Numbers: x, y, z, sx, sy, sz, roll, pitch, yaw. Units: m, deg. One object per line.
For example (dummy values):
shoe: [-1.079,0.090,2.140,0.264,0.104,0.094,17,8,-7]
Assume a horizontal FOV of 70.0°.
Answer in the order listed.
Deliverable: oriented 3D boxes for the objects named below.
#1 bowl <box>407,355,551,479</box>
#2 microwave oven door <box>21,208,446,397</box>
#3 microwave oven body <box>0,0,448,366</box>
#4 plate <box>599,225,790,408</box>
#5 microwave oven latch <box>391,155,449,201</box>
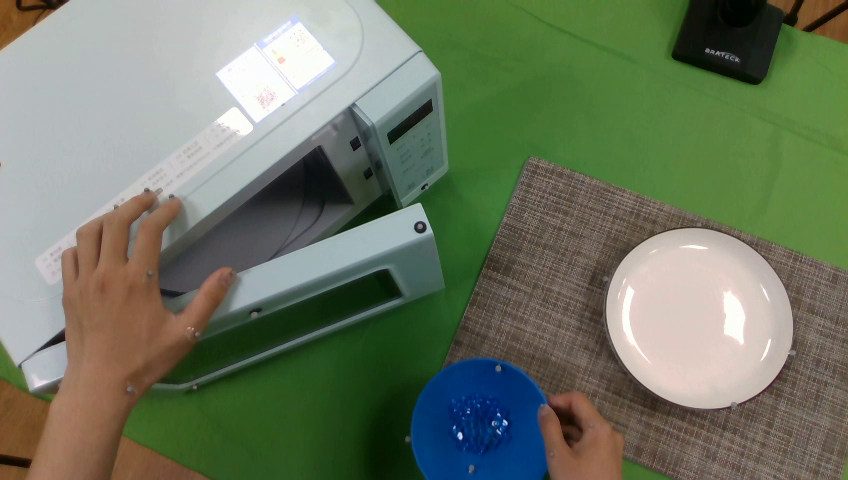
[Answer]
bowl: [0.060,0.206,0.663,0.151,0.077,0.150,-1,73,5]
microwave oven door: [-0.154,0.075,0.609,0.356,0.245,0.039,-21,74,-2]
microwave oven body: [-0.243,-0.103,0.665,0.441,0.261,0.324,-40,77,-6]
plate: [0.304,0.087,0.697,0.207,0.039,0.206,-1,76,3]
microwave oven latch: [-0.005,-0.083,0.745,0.079,0.029,0.030,-38,77,-5]
